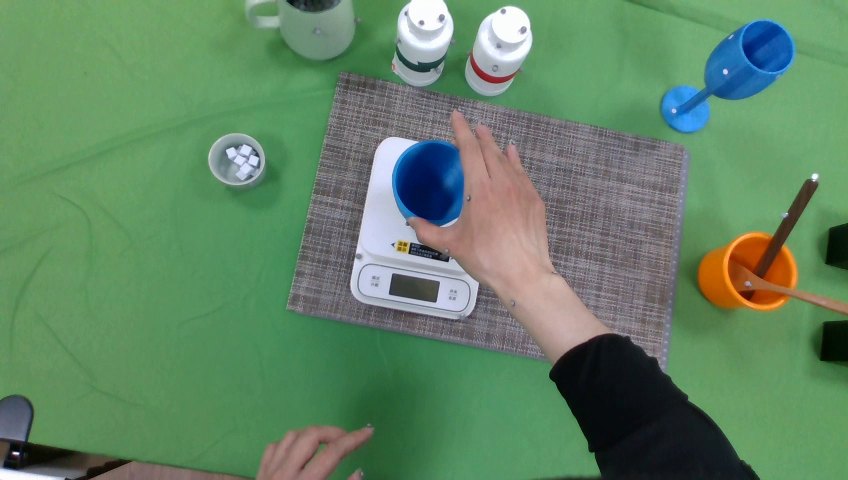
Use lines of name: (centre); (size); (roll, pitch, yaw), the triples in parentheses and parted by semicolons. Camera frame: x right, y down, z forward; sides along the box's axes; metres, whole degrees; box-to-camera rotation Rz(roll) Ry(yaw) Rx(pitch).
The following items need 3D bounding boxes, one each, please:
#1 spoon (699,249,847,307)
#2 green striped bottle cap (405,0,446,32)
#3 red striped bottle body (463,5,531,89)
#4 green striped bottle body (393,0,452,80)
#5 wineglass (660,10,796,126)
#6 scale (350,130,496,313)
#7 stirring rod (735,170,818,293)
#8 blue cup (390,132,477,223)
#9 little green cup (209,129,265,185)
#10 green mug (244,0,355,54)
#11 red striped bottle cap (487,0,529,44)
spoon: (0.412, 0.050, 0.691); (0.022, 0.192, 0.041); (29, 85, -45)
green striped bottle cap: (0.002, -0.249, 0.654); (0.044, 0.020, 0.044); (1, 81, -6)
red striped bottle body: (0.087, -0.230, 0.713); (0.063, 0.120, 0.063); (1, 81, -6)
green striped bottle body: (-0.002, -0.240, 0.705); (0.063, 0.119, 0.063); (1, 80, -6)
wineglass: (0.347, -0.195, 0.709); (0.074, 0.172, 0.073); (1, 81, -5)
scale: (0.001, -0.022, 0.713); (0.149, 0.031, 0.200); (10, 81, -4)
stirring rod: (0.403, -0.004, 0.699); (0.014, 0.177, 0.006); (17, 39, 10)
blue cup: (0.005, -0.057, 0.636); (0.093, 0.100, 0.092); (1, 83, -6)
little green cup: (-0.213, -0.093, 0.700); (0.062, 0.038, 0.061); (1, 81, -7)
green mug: (-0.144, -0.274, 0.703); (0.125, 0.105, 0.092); (-11, 83, -7)
red striped bottle cap: (0.092, -0.238, 0.662); (0.044, 0.018, 0.044); (2, 80, -9)
